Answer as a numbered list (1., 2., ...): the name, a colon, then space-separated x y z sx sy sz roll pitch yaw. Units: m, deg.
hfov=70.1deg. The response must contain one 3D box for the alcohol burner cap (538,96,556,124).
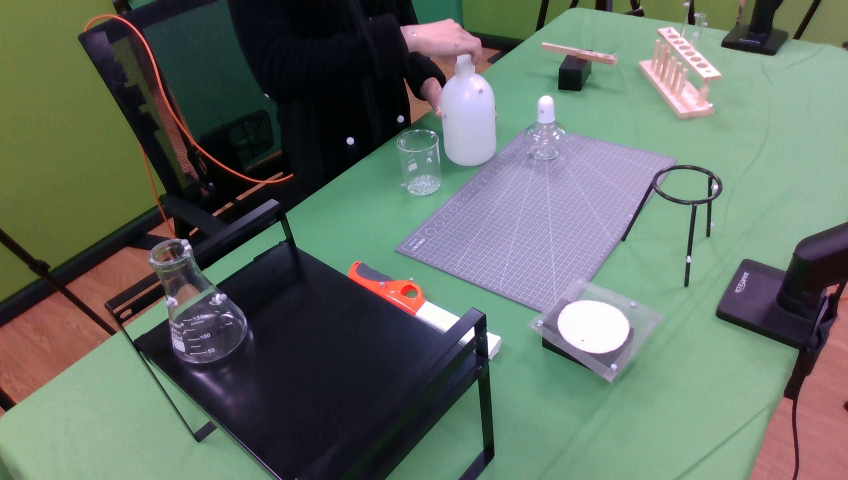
1. alcohol burner cap: 0.222 -0.237 1.095 0.034 0.048 0.033 -7 35 5

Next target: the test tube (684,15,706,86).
1. test tube: 0.541 -0.378 1.215 0.017 0.151 0.017 -2 44 3

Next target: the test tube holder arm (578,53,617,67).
1. test tube holder arm: 0.376 -0.393 1.314 0.087 0.015 0.010 26 51 32

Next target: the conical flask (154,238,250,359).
1. conical flask: -0.225 0.055 0.597 0.075 0.122 0.075 -5 41 4

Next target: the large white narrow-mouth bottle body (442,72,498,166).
1. large white narrow-mouth bottle body: 0.084 -0.242 1.121 0.102 0.195 0.101 -4 40 4

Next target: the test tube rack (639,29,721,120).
1. test tube rack: 0.527 -0.351 1.262 0.067 0.085 0.241 -8 40 1

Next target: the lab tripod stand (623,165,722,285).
1. lab tripod stand: 0.365 -0.030 0.874 0.148 0.132 0.147 -6 41 6

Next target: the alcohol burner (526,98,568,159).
1. alcohol burner: 0.228 -0.210 1.118 0.078 0.119 0.077 -5 43 5

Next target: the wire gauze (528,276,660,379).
1. wire gauze: 0.213 0.103 0.763 0.124 0.011 0.122 30 52 35

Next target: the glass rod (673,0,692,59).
1. glass rod: 0.537 -0.437 1.257 0.008 0.200 0.008 0 39 1

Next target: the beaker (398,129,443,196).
1. beaker: -0.002 -0.139 1.087 0.073 0.101 0.084 28 52 35

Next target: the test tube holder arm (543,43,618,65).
1. test tube holder arm: 0.344 -0.413 1.341 0.177 0.015 0.013 25 50 31

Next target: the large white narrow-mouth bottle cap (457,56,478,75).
1. large white narrow-mouth bottle cap: 0.076 -0.307 1.064 0.038 0.024 0.037 -4 40 4

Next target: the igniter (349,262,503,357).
1. igniter: -0.008 0.093 0.870 0.274 0.025 0.057 24 60 33
